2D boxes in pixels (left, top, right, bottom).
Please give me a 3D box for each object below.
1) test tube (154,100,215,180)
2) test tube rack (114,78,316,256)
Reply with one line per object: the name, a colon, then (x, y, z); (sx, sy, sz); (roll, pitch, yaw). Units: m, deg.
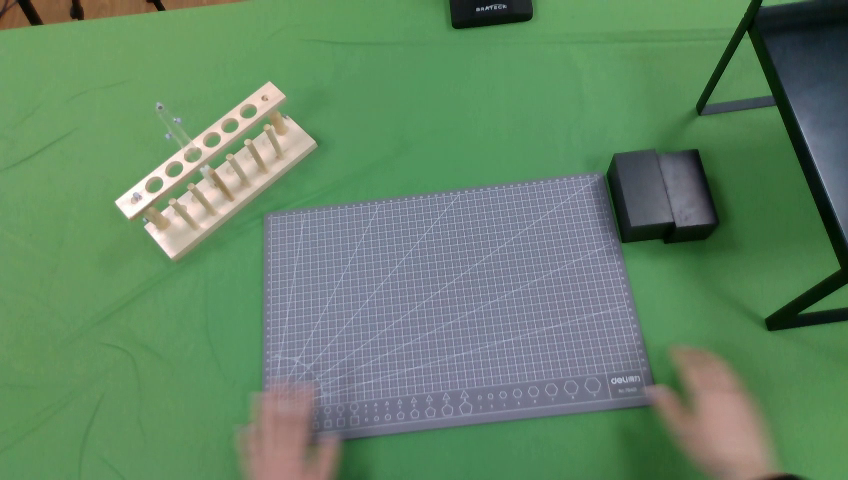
test tube: (-0.289, -0.118, 0.744); (0.017, 0.151, 0.017); (-2, 63, 5)
test tube rack: (-0.263, -0.094, 0.786); (0.242, 0.086, 0.066); (-42, 71, -12)
